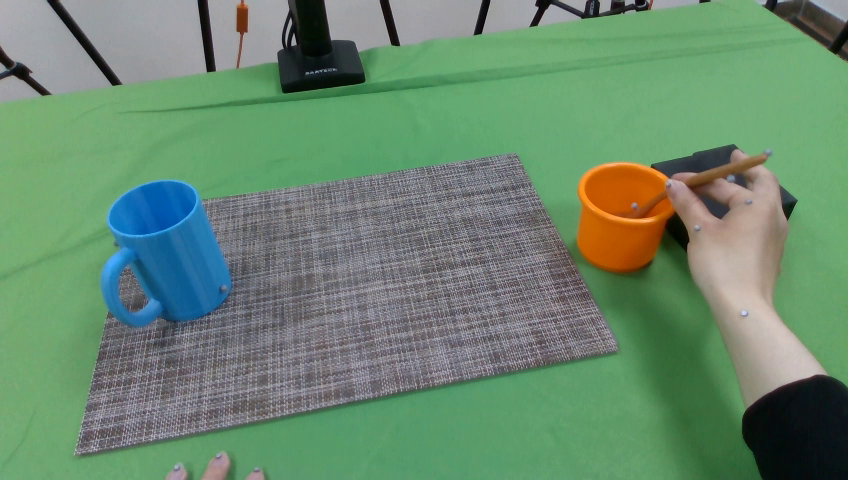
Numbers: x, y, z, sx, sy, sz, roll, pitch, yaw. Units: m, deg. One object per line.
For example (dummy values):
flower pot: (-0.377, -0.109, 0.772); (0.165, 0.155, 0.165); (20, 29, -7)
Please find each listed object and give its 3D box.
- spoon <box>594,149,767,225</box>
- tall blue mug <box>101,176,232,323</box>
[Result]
spoon: (0.221, -0.045, 0.548); (0.042, 0.194, 0.021); (-21, 82, -26)
tall blue mug: (-0.228, 0.018, 0.543); (0.078, 0.109, 0.106); (-3, 44, -1)
